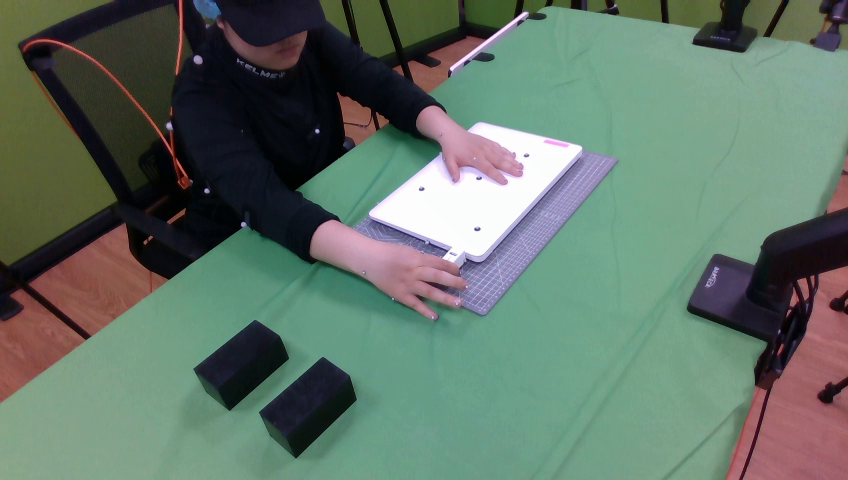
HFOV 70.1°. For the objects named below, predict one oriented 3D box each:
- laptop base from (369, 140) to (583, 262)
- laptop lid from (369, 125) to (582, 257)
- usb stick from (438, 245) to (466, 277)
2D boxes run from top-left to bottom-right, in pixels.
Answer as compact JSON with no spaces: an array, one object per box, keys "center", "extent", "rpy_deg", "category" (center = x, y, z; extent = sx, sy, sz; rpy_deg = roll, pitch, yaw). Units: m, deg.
[{"center":[0.100,-0.096,1.071],"extent":[0.233,0.023,0.355],"rpy_deg":[19,47,33],"category":"laptop base"},{"center":[0.097,-0.105,1.066],"extent":[0.239,0.013,0.358],"rpy_deg":[21,47,33],"category":"laptop lid"},{"center":[0.047,0.028,0.911],"extent":[0.021,0.027,0.059],"rpy_deg":[28,45,26],"category":"usb stick"}]
